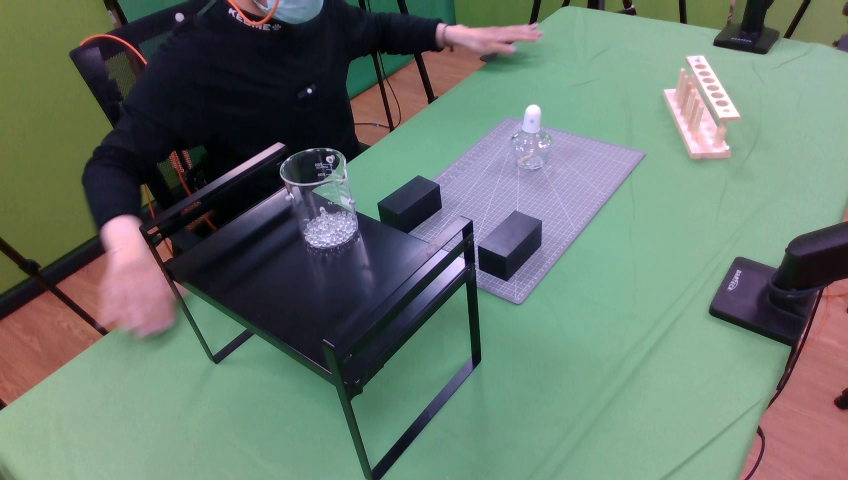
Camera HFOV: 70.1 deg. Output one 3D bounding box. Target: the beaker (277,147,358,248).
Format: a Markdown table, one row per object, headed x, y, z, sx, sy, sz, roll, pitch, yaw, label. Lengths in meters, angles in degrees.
| x | y | z | sx | sy | sz | roll | pitch | yaw | label |
| --- | --- | --- | --- | --- | --- | --- | --- | --- | --- |
| -0.117 | -0.046 | 0.705 | 0.083 | 0.101 | 0.074 | 17 | 47 | 25 | beaker |

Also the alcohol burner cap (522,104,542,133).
| x | y | z | sx | sy | sz | roll | pitch | yaw | label |
| --- | --- | --- | --- | --- | --- | --- | --- | --- | --- |
| 0.191 | -0.217 | 1.065 | 0.034 | 0.048 | 0.033 | 0 | 39 | 0 | alcohol burner cap |

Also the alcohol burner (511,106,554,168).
| x | y | z | sx | sy | sz | roll | pitch | yaw | label |
| --- | --- | --- | --- | --- | --- | --- | --- | --- | --- |
| 0.195 | -0.190 | 1.088 | 0.078 | 0.119 | 0.077 | -3 | 42 | 3 | alcohol burner |

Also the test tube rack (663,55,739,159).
| x | y | z | sx | sy | sz | roll | pitch | yaw | label |
| --- | --- | --- | --- | --- | --- | --- | --- | --- | --- |
| 0.518 | -0.256 | 1.144 | 0.066 | 0.085 | 0.241 | -1 | 41 | 8 | test tube rack |
